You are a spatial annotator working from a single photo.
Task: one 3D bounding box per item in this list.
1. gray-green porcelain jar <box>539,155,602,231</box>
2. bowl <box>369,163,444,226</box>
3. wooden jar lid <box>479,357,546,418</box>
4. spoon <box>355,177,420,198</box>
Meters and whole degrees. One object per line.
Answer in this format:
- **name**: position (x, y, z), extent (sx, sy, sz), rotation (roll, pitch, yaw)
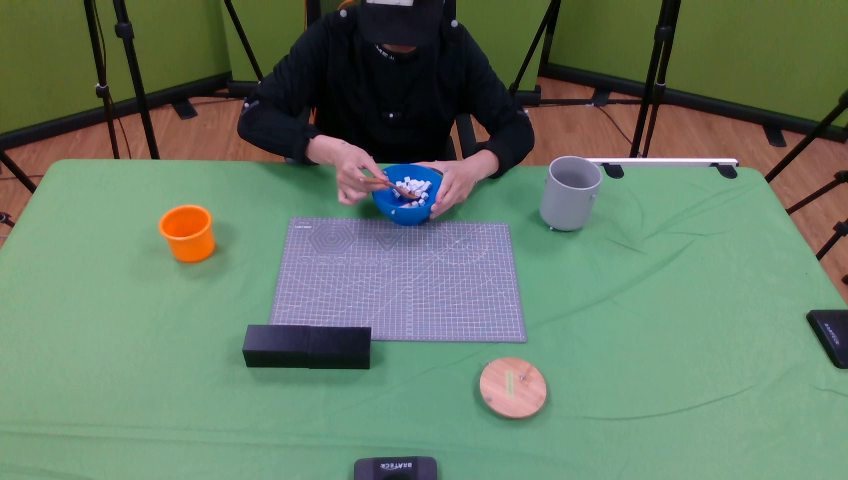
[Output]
- **gray-green porcelain jar**: position (0.294, -0.091, 1.235), extent (0.106, 0.127, 0.105), rotation (2, 46, -2)
- **bowl**: position (-0.036, -0.082, 1.233), extent (0.151, 0.077, 0.150), rotation (2, 43, -2)
- **wooden jar lid**: position (0.142, 0.240, 0.979), extent (0.108, 0.021, 0.107), rotation (1, 46, -1)
- **spoon**: position (-0.070, -0.107, 1.188), extent (0.041, 0.021, 0.194), rotation (41, 15, 31)
